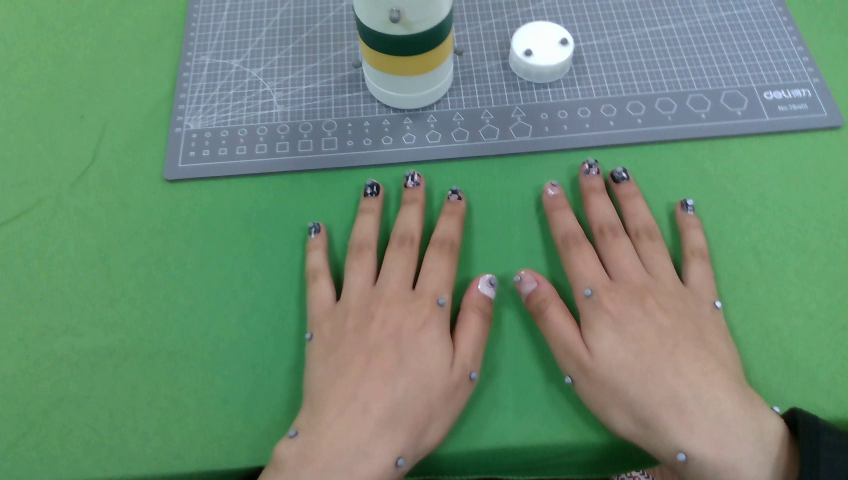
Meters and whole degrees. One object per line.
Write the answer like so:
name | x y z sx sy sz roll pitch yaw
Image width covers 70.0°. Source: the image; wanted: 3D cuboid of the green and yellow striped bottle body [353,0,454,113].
green and yellow striped bottle body | -0.012 -0.141 0.377 0.063 0.120 0.062 -1 62 2

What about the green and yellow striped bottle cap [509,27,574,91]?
green and yellow striped bottle cap | 0.083 -0.129 0.428 0.045 0.020 0.045 0 63 1
